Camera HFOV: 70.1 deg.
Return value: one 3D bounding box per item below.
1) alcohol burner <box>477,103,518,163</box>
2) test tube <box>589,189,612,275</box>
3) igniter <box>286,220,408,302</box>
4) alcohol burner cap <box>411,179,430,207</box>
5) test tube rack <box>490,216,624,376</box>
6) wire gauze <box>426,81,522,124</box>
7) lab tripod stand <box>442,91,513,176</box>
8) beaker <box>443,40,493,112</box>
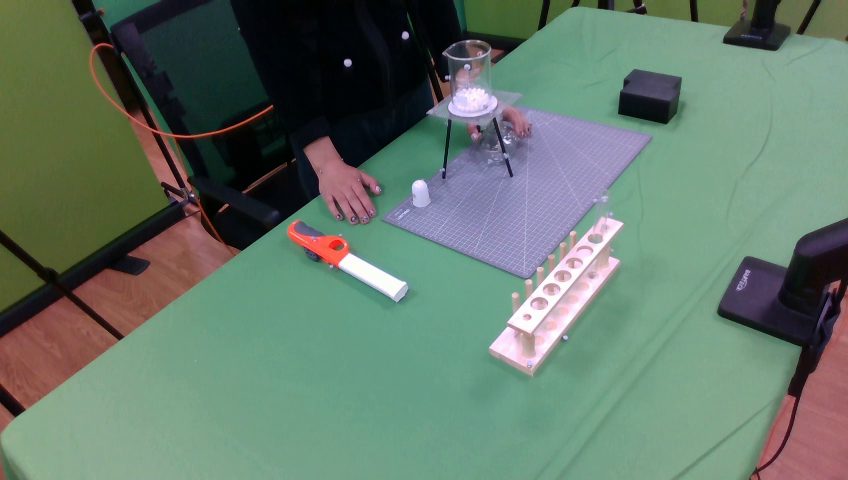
[{"bbox_3d":[0.135,-0.203,1.119,0.078,0.119,0.077,-4,42,4],"label":"alcohol burner"},{"bbox_3d":[0.238,-0.007,0.818,0.017,0.151,0.017,-3,43,4],"label":"test tube"},{"bbox_3d":[-0.134,0.028,0.969,0.274,0.025,0.057,26,61,35],"label":"igniter"},{"bbox_3d":[-0.008,-0.085,1.063,0.034,0.048,0.033,-4,40,4],"label":"alcohol burner cap"},{"bbox_3d":[0.184,0.064,0.822,0.066,0.085,0.243,24,50,33],"label":"test tube rack"},{"bbox_3d":[0.088,-0.237,1.051,0.120,0.011,0.125,23,47,29],"label":"wire gauze"},{"bbox_3d":[0.096,-0.190,1.096,0.148,0.132,0.147,-4,40,4],"label":"lab tripod stand"},{"bbox_3d":[0.076,-0.276,1.023,0.083,0.101,0.074,5,41,16],"label":"beaker"}]
